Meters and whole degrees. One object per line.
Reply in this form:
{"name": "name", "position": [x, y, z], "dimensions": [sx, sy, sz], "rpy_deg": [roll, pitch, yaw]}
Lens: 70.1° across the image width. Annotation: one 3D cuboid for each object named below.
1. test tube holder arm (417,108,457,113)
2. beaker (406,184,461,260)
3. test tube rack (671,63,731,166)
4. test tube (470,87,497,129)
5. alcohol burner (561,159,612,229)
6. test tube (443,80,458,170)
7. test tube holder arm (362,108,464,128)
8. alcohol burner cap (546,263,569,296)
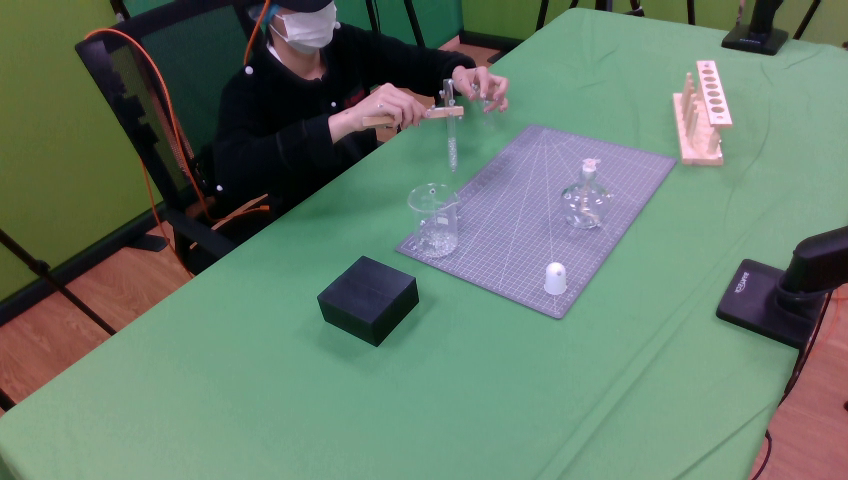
{"name": "test tube holder arm", "position": [0.021, -0.209, 1.004], "dimensions": [0.088, 0.015, 0.010], "rpy_deg": [-15, 18, -33]}
{"name": "beaker", "position": [0.019, -0.026, 0.939], "dimensions": [0.084, 0.101, 0.074], "rpy_deg": [1, 41, 9]}
{"name": "test tube rack", "position": [0.513, -0.241, 1.132], "dimensions": [0.066, 0.085, 0.242], "rpy_deg": [4, 41, 14]}
{"name": "test tube", "position": [0.112, -0.241, 1.116], "dimensions": [0.017, 0.151, 0.017], "rpy_deg": [-6, 73, 19]}
{"name": "alcohol burner", "position": [0.257, -0.077, 0.951], "dimensions": [0.078, 0.119, 0.077], "rpy_deg": [-3, 40, 3]}
{"name": "test tube", "position": [0.045, -0.192, 1.018], "dimensions": [0.017, 0.150, 0.017], "rpy_deg": [-5, 19, 2]}
{"name": "test tube holder arm", "position": [-0.015, -0.199, 0.978], "dimensions": [0.179, 0.015, 0.013], "rpy_deg": [-12, 16, -26]}
{"name": "alcohol burner cap", "position": [0.191, 0.053, 0.862], "dimensions": [0.034, 0.048, 0.033], "rpy_deg": [-5, 40, 4]}
